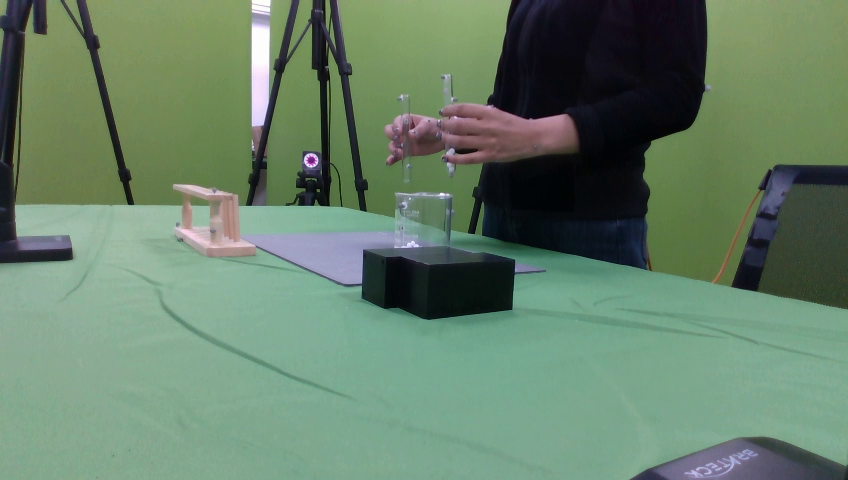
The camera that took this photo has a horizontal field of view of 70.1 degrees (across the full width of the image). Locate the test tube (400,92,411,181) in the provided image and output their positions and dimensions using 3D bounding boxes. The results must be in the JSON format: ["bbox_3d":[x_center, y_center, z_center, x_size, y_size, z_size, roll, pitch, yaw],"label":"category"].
[{"bbox_3d":[-0.031,-0.172,1.019,0.017,0.150,0.017,-1,19,1],"label":"test tube"}]

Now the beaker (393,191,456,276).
[{"bbox_3d":[-0.003,-0.010,0.749,0.074,0.100,0.083,-3,8,-40],"label":"beaker"}]

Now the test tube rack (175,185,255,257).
[{"bbox_3d":[-0.324,-0.035,0.922,0.067,0.085,0.241,-2,9,-31],"label":"test tube rack"}]

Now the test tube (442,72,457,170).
[{"bbox_3d":[0.038,-0.179,0.911,0.017,0.150,0.017,-3,-4,0],"label":"test tube"}]
